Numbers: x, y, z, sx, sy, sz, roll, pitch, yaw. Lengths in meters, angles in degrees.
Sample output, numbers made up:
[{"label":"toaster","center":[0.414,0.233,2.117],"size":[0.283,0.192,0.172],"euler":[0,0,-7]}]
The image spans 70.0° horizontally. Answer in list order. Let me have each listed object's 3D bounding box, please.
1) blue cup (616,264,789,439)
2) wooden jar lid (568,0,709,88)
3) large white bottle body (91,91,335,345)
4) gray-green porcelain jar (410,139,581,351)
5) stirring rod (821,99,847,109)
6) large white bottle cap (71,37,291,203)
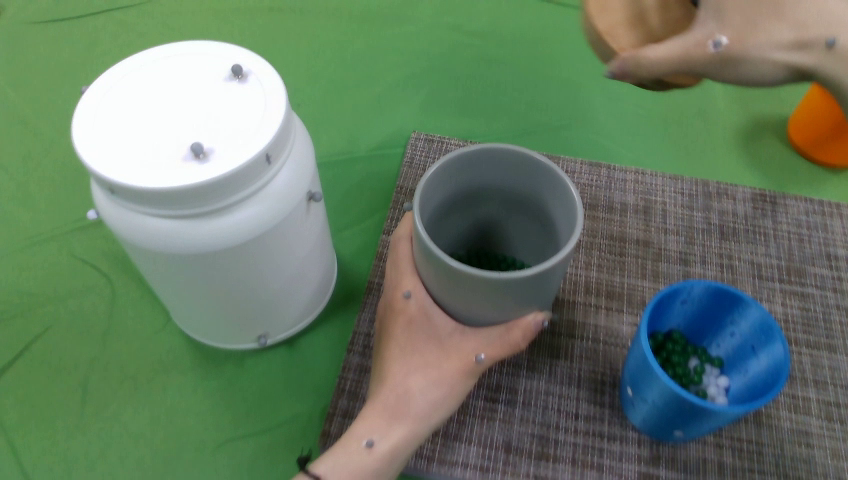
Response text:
[{"label":"blue cup","center":[0.167,0.084,0.392],"size":[0.092,0.101,0.092],"euler":[0,55,0]},{"label":"wooden jar lid","center":[0.142,-0.145,0.410],"size":[0.109,0.021,0.107],"euler":[10,60,-18]},{"label":"large white bottle body","center":[-0.134,-0.023,0.408],"size":[0.131,0.186,0.129],"euler":[1,56,-1]},{"label":"gray-green porcelain jar","center":[0.043,0.011,0.422],"size":[0.106,0.127,0.105],"euler":[1,57,-1]},{"label":"stirring rod","center":[0.372,-0.116,0.514],"size":[0.014,0.006,0.176],"euler":[17,15,13]},{"label":"large white bottle cap","center":[-0.133,-0.070,0.336],"size":[0.115,0.018,0.113],"euler":[1,57,-1]}]
